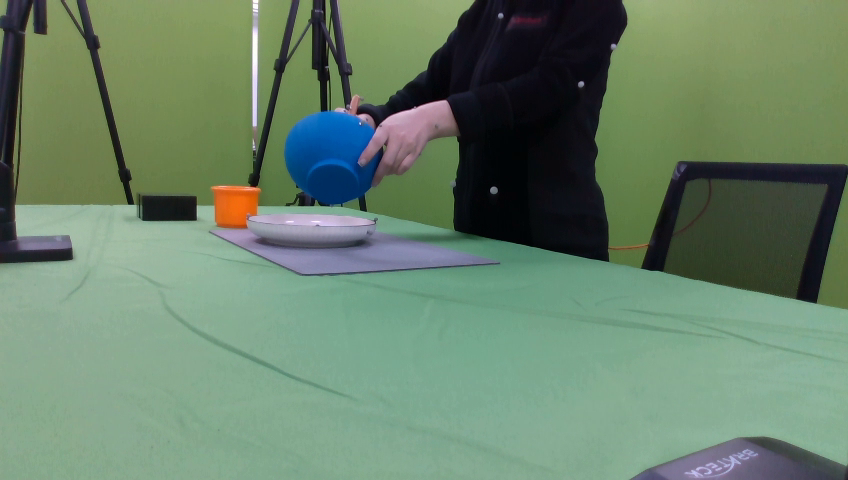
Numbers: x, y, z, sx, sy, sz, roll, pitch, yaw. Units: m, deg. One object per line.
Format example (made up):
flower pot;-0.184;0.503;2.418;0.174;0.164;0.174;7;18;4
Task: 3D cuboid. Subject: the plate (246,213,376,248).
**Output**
plate;-0.185;-0.017;0.994;0.209;0.038;0.209;3;8;0

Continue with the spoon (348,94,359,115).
spoon;-0.131;-0.160;0.983;0.041;0.193;0.021;9;-29;0

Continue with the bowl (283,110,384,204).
bowl;-0.133;-0.105;0.886;0.152;0.151;0.076;1;43;-6
